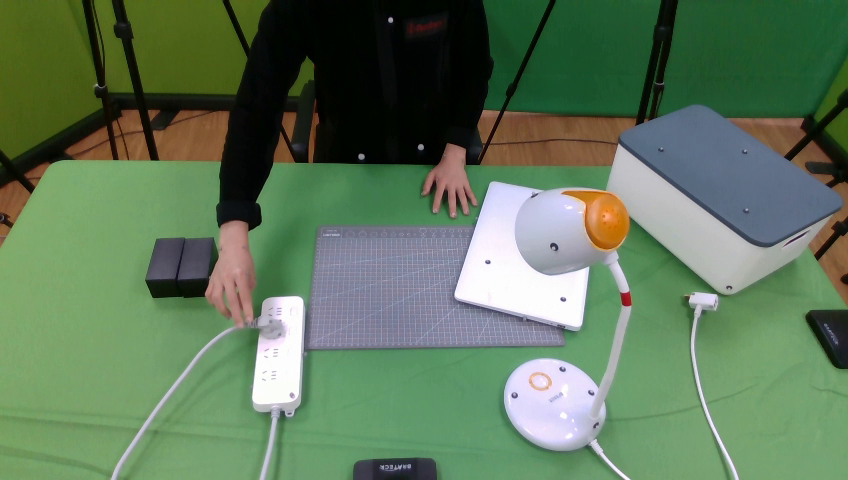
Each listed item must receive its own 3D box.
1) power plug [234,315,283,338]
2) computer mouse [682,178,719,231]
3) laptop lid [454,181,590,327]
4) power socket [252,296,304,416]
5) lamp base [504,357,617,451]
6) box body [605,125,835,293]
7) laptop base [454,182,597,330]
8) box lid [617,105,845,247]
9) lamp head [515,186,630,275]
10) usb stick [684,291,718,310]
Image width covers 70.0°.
[{"bbox_3d":[-0.270,0.143,0.999,0.072,0.053,0.035,6,46,2],"label":"power plug"},{"bbox_3d":[0.596,-0.078,1.290,0.117,0.041,0.062,56,44,-7],"label":"computer mouse"},{"bbox_3d":[0.210,0.010,1.193,0.241,0.013,0.355,13,46,11],"label":"laptop lid"},{"bbox_3d":[-0.238,0.181,0.997,0.072,0.033,0.225,-3,47,-5],"label":"power socket"},{"bbox_3d":[0.220,0.211,0.903,0.160,0.181,0.178,-33,59,-30],"label":"lamp base"},{"bbox_3d":[0.582,-0.089,1.230,0.254,0.161,0.361,-22,52,-23],"label":"box body"},{"bbox_3d":[0.211,0.019,1.202,0.235,0.023,0.352,11,46,10],"label":"laptop base"},{"bbox_3d":[0.586,-0.138,1.176,0.263,0.015,0.369,-22,51,-23],"label":"box lid"},{"bbox_3d":[0.188,-0.013,0.728,0.112,0.112,0.122,-25,9,-25],"label":"lamp head"},{"bbox_3d":[0.509,0.111,1.121,0.059,0.021,0.027,6,54,46],"label":"usb stick"}]
